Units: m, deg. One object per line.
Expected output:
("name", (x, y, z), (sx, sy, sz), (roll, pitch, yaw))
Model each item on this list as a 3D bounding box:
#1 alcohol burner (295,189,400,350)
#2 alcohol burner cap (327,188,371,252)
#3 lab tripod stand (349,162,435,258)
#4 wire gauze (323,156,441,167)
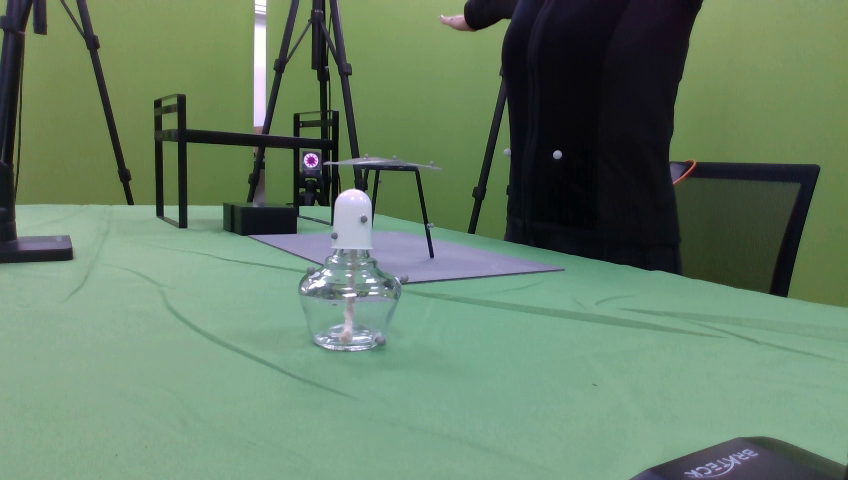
("alcohol burner", (-0.056, 0.021, 0.453), (0.078, 0.119, 0.078), (3, 6, 0))
("alcohol burner cap", (-0.055, -0.015, 0.448), (0.034, 0.048, 0.034), (0, 1, 0))
("lab tripod stand", (-0.056, -0.044, 0.863), (0.148, 0.131, 0.148), (3, 9, 0))
("wire gauze", (-0.056, -0.111, 0.856), (0.121, 0.011, 0.125), (8, 10, 31))
